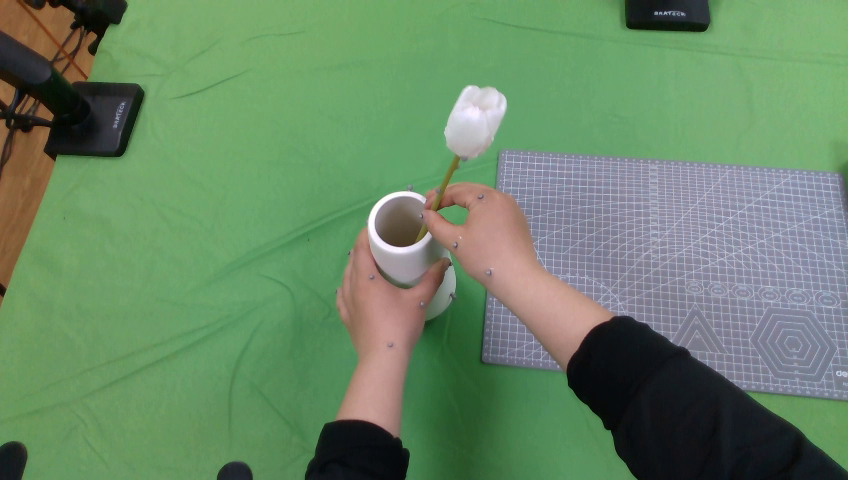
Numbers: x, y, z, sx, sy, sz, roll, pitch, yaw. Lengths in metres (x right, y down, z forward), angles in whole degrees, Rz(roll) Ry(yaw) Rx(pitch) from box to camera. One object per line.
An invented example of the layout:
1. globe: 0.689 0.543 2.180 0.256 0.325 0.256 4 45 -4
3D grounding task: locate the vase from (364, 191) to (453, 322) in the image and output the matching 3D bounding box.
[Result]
1. vase: -0.016 0.022 0.672 0.098 0.201 0.097 -1 66 2

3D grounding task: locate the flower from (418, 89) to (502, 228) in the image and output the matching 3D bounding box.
1. flower: -0.005 -0.015 0.591 0.044 0.363 0.038 -28 73 -28
